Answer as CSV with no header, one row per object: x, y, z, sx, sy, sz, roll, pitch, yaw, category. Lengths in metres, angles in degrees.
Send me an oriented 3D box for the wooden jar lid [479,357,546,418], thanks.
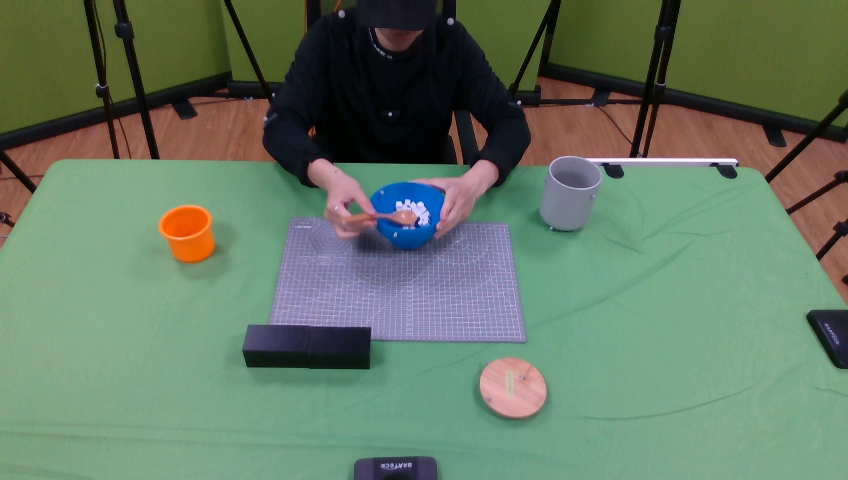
0.142,0.240,0.979,0.108,0.021,0.107,1,46,-1,wooden jar lid

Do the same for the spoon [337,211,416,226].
-0.085,-0.040,1.104,0.194,0.022,0.041,-2,45,-51,spoon

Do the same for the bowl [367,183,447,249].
-0.033,-0.035,1.154,0.151,0.077,0.150,2,41,-1,bowl

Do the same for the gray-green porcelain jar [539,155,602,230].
0.294,-0.091,1.235,0.106,0.127,0.105,2,46,-2,gray-green porcelain jar
